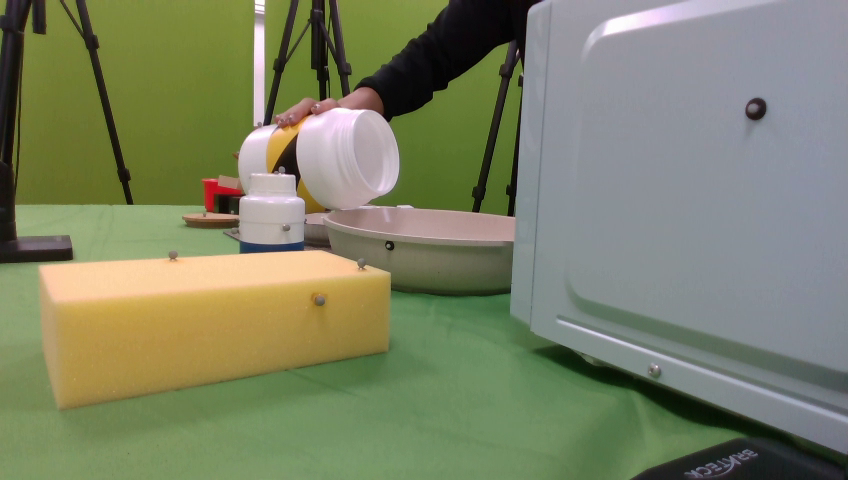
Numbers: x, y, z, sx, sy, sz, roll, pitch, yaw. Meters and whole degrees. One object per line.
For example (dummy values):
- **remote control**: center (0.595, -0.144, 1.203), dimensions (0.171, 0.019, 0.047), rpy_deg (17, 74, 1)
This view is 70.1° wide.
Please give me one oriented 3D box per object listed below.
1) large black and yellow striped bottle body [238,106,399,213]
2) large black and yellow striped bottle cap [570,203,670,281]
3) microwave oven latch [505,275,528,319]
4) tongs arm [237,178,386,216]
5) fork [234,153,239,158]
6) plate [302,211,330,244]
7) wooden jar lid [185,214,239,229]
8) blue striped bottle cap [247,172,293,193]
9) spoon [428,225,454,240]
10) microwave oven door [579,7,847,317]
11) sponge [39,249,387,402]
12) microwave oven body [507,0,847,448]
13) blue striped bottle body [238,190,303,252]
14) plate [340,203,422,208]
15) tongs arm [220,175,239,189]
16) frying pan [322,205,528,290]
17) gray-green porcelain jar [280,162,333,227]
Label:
- **large black and yellow striped bottle body**: center (-0.139, -0.104, 0.809), dimensions (0.183, 0.130, 0.131), rpy_deg (-7, 2, 30)
- **large black and yellow striped bottle cap**: center (0.230, 0.001, 0.714), dimensions (0.115, 0.019, 0.115), rpy_deg (-22, 35, 17)
- **microwave oven latch**: center (0.100, 0.042, 0.471), dimensions (0.079, 0.029, 0.030), rpy_deg (-1, 7, -28)
- **tongs arm**: center (-0.241, -0.095, 1.374), dimensions (0.387, 0.026, 0.050), rpy_deg (9, 1, -37)
- **fork**: center (-0.396, -0.143, 1.486), dimensions (0.028, 0.018, 0.208), rpy_deg (19, -26, 44)
- **plate**: center (-0.139, -0.022, 1.021), dimensions (0.209, 0.038, 0.209), rpy_deg (2, 8, 0)
- **wooden jar lid**: center (-0.404, -0.037, 1.169), dimensions (0.108, 0.020, 0.108), rpy_deg (3, 7, 0)
- **blue striped bottle cap**: center (-0.152, -0.057, 0.598), dimensions (0.044, 0.020, 0.044), rpy_deg (3, 6, 0)
- **spoon**: center (0.024, -0.019, 1.124), dimensions (0.042, 0.021, 0.193), rpy_deg (-16, 9, -4)
- **microwave oven door**: center (0.294, -0.067, 0.570), dimensions (0.358, 0.243, 0.039), rpy_deg (-3, 9, -31)
- **sponge**: center (-0.142, 0.047, 0.420), dimensions (0.208, 0.061, 0.117), rpy_deg (-3, 8, -36)
- **microwave oven body**: center (0.331, -0.042, 0.425), dimensions (0.444, 0.260, 0.324), rpy_deg (-2, 8, -31)
- **blue striped bottle body**: center (-0.153, -0.007, 0.606), dimensions (0.063, 0.120, 0.063), rpy_deg (2, 8, 0)
- **plate**: center (-0.089, -0.054, 1.309), dimensions (0.208, 0.039, 0.207), rpy_deg (2, 8, 0)
- **tongs arm**: center (-0.285, -0.105, 1.445), dimensions (0.389, 0.027, 0.028), rpy_deg (10, -3, -23)
- **frying pan**: center (0.110, -0.018, 0.800), dimensions (0.490, 0.102, 0.305), rpy_deg (-12, 16, -30)
- **gray-green porcelain jar**: center (-0.238, -0.092, 1.221), dimensions (0.106, 0.126, 0.106), rpy_deg (2, 7, 0)
